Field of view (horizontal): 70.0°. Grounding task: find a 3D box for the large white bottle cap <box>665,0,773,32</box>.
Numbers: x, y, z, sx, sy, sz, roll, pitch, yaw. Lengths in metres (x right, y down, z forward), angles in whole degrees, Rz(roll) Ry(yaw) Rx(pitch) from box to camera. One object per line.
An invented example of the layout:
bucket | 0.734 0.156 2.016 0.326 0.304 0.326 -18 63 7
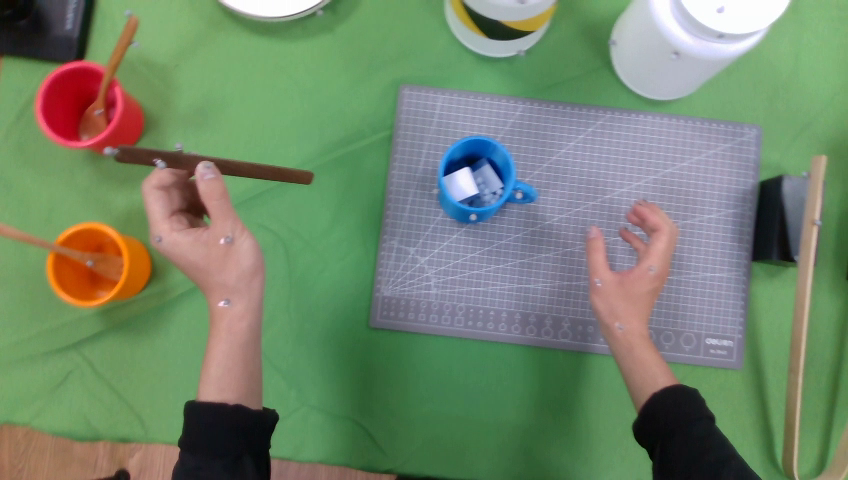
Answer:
large white bottle cap | 0.282 -0.257 0.578 0.115 0.018 0.114 0 86 -1

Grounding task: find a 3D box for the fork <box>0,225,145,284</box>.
fork | -0.407 0.007 0.657 0.209 0.018 0.028 28 85 -42

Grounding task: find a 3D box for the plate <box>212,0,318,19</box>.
plate | -0.191 -0.367 0.738 0.208 0.039 0.207 0 87 0

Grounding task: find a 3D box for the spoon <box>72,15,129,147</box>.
spoon | -0.359 -0.172 0.671 0.041 0.021 0.194 52 131 6

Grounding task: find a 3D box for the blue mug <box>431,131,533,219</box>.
blue mug | 0.065 -0.066 0.686 0.116 0.106 0.082 14 86 0

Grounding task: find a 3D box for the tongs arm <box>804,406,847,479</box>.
tongs arm | 0.516 0.100 0.685 0.028 0.027 0.388 14 98 -8

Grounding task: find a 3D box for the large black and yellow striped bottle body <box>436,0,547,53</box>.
large black and yellow striped bottle body | 0.080 -0.300 0.664 0.131 0.184 0.130 0 86 0

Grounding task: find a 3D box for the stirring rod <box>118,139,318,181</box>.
stirring rod | -0.158 -0.064 0.496 0.005 0.177 0.014 35 111 37

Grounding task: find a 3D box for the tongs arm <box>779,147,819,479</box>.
tongs arm | 0.435 0.090 0.682 0.051 0.026 0.385 2 98 -3

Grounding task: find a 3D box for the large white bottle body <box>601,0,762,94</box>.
large white bottle body | 0.282 -0.249 0.662 0.130 0.185 0.130 0 86 -1
